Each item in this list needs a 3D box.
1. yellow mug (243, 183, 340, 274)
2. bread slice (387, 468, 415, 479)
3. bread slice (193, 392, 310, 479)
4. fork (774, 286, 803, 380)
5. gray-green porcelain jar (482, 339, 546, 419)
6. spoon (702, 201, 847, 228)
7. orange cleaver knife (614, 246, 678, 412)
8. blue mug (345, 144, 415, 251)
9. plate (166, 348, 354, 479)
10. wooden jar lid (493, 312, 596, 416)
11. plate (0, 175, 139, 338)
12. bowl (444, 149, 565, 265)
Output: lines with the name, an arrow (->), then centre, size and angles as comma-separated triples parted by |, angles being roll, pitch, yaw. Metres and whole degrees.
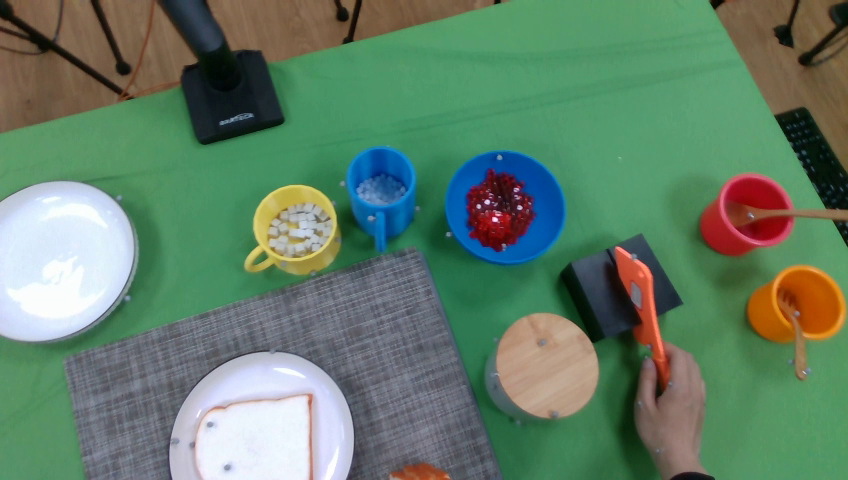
yellow mug -> -0.170, -0.004, 0.759 | 0.131, 0.064, 0.099 | -39, 77, -12
bread slice -> -0.014, 0.295, 0.637 | 0.018, 0.135, 0.106 | -9, 71, -14
bread slice -> -0.197, 0.233, 0.696 | 0.132, 0.019, 0.104 | -3, 71, -8
fork -> 0.432, 0.105, 0.714 | 0.028, 0.019, 0.207 | 44, 31, 4
gray-green porcelain jar -> 0.123, 0.150, 0.694 | 0.106, 0.127, 0.105 | 1, 72, -3
spoon -> 0.452, -0.031, 0.760 | 0.022, 0.192, 0.041 | 44, 62, -36
orange cleaver knife -> 0.269, 0.109, 0.738 | 0.012, 0.076, 0.212 | -20, 104, -8
blue mug -> -0.054, -0.044, 0.758 | 0.082, 0.106, 0.116 | 2, 72, -2
plate -> -0.183, 0.230, 0.694 | 0.209, 0.038, 0.208 | 1, 72, -2
wooden jar lid -> 0.125, 0.130, 0.635 | 0.108, 0.021, 0.107 | 2, 73, -5
plate -> -0.457, 0.021, 0.750 | 0.208, 0.039, 0.206 | 1, 72, -3
bowl -> 0.098, -0.032, 0.777 | 0.151, 0.077, 0.150 | 1, 72, -2
